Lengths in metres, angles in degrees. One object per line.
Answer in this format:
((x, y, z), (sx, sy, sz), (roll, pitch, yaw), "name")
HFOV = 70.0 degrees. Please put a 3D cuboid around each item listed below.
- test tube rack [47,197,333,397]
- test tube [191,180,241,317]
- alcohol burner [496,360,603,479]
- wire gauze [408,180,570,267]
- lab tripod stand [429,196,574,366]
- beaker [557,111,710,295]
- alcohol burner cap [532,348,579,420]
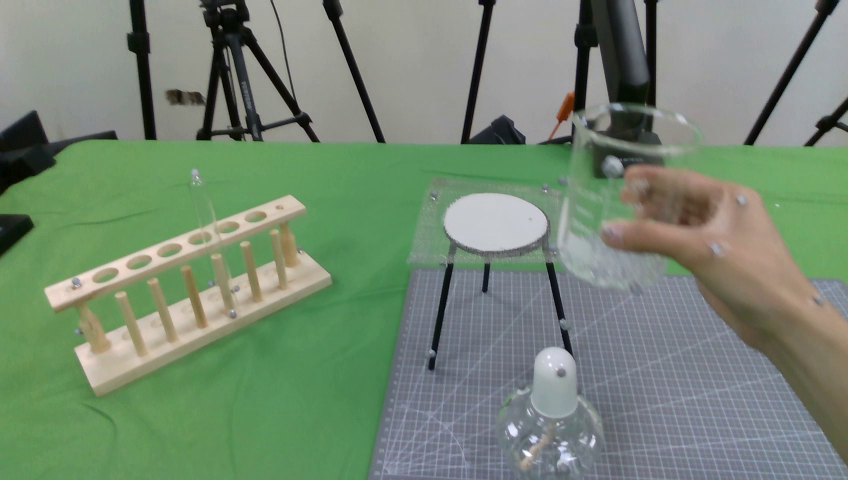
((-0.216, 0.047, 0.595), (0.243, 0.086, 0.066), (-26, 40, -29), "test tube rack")
((-0.194, 0.011, 0.566), (0.017, 0.151, 0.017), (-1, 34, 1), "test tube")
((0.090, 0.124, 0.431), (0.078, 0.120, 0.077), (-1, 37, 1), "alcohol burner")
((0.056, -0.015, 0.499), (0.121, 0.011, 0.124), (3, 36, 8), "wire gauze")
((0.068, 0.039, 0.538), (0.148, 0.132, 0.147), (-1, 34, 1), "lab tripod stand")
((0.124, -0.023, 0.384), (0.083, 0.101, 0.074), (27, 38, 34), "beaker")
((0.090, 0.094, 0.410), (0.034, 0.048, 0.033), (-4, 34, 3), "alcohol burner cap")
